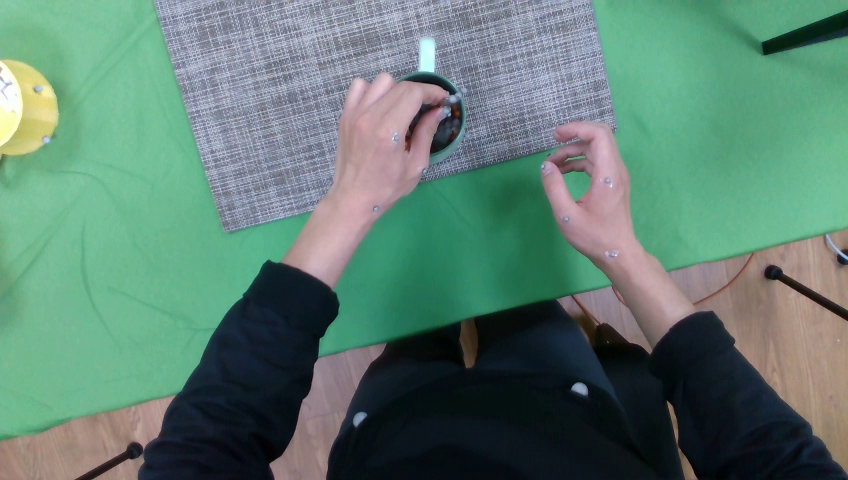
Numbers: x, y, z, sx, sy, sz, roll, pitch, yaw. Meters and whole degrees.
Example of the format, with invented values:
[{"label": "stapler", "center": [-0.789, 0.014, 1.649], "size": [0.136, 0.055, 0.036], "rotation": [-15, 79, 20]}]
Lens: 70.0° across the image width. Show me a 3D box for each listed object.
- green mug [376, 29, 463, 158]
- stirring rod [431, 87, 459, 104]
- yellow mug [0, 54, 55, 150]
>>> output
[{"label": "green mug", "center": [-0.004, -0.147, 0.610], "size": [0.092, 0.104, 0.125], "rotation": [2, 98, -2]}, {"label": "stirring rod", "center": [0.017, -0.133, 0.561], "size": [0.014, 0.175, 0.006], "rotation": [-12, 100, 0]}, {"label": "yellow mug", "center": [-0.448, -0.127, 0.615], "size": [0.100, 0.064, 0.131], "rotation": [18, 98, -5]}]
